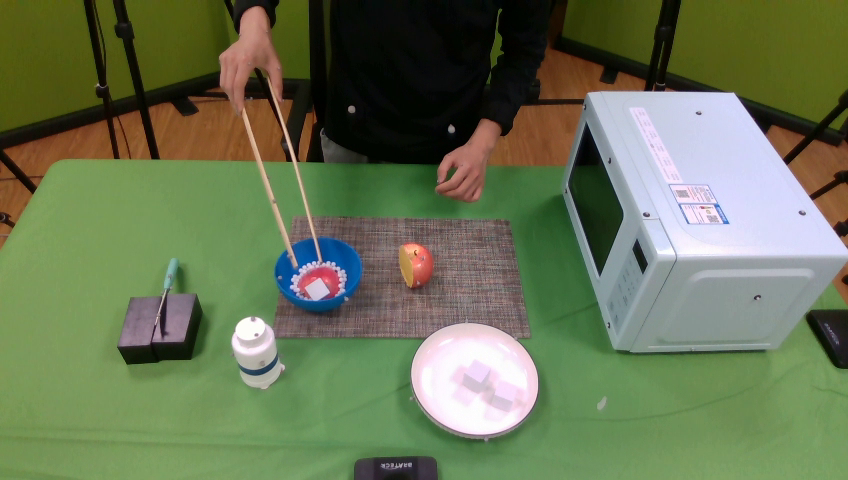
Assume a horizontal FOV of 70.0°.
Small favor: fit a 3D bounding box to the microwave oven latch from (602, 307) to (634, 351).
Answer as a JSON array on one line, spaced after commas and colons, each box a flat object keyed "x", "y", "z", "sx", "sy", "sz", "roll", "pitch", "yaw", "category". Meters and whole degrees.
[{"x": 0.332, "y": 0.153, "z": 1.044, "sx": 0.030, "sy": 0.029, "sz": 0.078, "roll": -1, "pitch": 45, "yaw": -4, "category": "microwave oven latch"}]

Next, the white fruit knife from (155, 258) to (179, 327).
[{"x": -0.440, "y": 0.085, "z": 1.037, "sx": 0.016, "sy": 0.027, "sz": 0.206, "roll": 10, "pitch": 26, "yaw": -19, "category": "white fruit knife"}]

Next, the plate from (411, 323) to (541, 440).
[{"x": 0.082, "y": 0.228, "z": 0.976, "sx": 0.208, "sy": 0.039, "sz": 0.206, "roll": 2, "pitch": 45, "yaw": -2, "category": "plate"}]

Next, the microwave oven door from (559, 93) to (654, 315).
[{"x": 0.327, "y": -0.074, "z": 1.123, "sx": 0.039, "sy": 0.245, "sz": 0.353, "roll": 0, "pitch": 46, "yaw": -5, "category": "microwave oven door"}]

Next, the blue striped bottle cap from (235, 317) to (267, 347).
[{"x": -0.260, "y": 0.137, "z": 0.907, "sx": 0.044, "sy": 0.021, "sz": 0.044, "roll": 3, "pitch": 43, "yaw": -2, "category": "blue striped bottle cap"}]

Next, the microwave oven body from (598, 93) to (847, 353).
[{"x": 0.475, "y": -0.041, "z": 1.109, "sx": 0.326, "sy": 0.261, "sz": 0.438, "roll": -1, "pitch": 45, "yaw": -4, "category": "microwave oven body"}]

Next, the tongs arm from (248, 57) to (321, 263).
[{"x": -0.236, "y": -0.142, "z": 1.034, "sx": 0.028, "sy": 0.028, "sz": 0.386, "roll": -17, "pitch": 78, "yaw": -11, "category": "tongs arm"}]

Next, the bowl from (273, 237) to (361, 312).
[{"x": -0.186, "y": 0.074, "z": 1.070, "sx": 0.151, "sy": 0.077, "sz": 0.150, "roll": 3, "pitch": 46, "yaw": -3, "category": "bowl"}]

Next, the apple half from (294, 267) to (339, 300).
[{"x": -0.188, "y": 0.071, "z": 1.067, "sx": 0.081, "sy": 0.033, "sz": 0.081, "roll": 5, "pitch": 46, "yaw": -5, "category": "apple half"}]

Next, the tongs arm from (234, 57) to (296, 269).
[{"x": -0.261, "y": -0.135, "z": 1.027, "sx": 0.051, "sy": 0.026, "sz": 0.383, "roll": -19, "pitch": 79, "yaw": -15, "category": "tongs arm"}]

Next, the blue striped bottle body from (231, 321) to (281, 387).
[{"x": -0.262, "y": 0.171, "z": 0.944, "sx": 0.063, "sy": 0.121, "sz": 0.062, "roll": 2, "pitch": 46, "yaw": -2, "category": "blue striped bottle body"}]

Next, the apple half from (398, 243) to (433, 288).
[{"x": -0.012, "y": 0.046, "z": 1.115, "sx": 0.053, "sy": 0.075, "sz": 0.080, "roll": -11, "pitch": 44, "yaw": -20, "category": "apple half"}]
